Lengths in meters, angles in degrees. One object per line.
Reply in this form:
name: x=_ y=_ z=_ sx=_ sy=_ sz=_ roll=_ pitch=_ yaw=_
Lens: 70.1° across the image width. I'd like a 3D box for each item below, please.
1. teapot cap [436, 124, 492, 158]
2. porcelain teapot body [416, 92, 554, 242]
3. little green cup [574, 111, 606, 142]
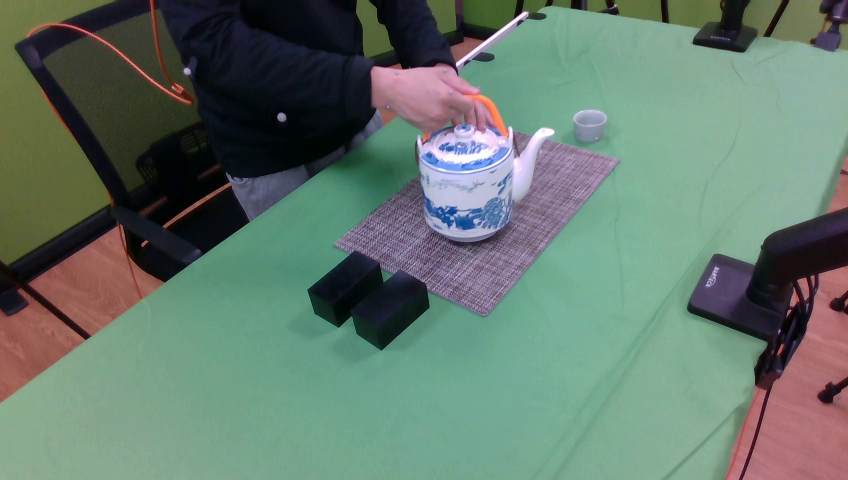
teapot cap: x=0.059 y=-0.147 z=0.892 sx=0.085 sy=0.044 sz=0.085 roll=-1 pitch=42 yaw=2
porcelain teapot body: x=0.092 y=-0.120 z=0.917 sx=0.205 sy=0.226 sz=0.144 roll=-6 pitch=39 yaw=0
little green cup: x=0.318 y=-0.217 z=1.164 sx=0.061 sy=0.039 sz=0.061 roll=-3 pitch=41 yaw=3
